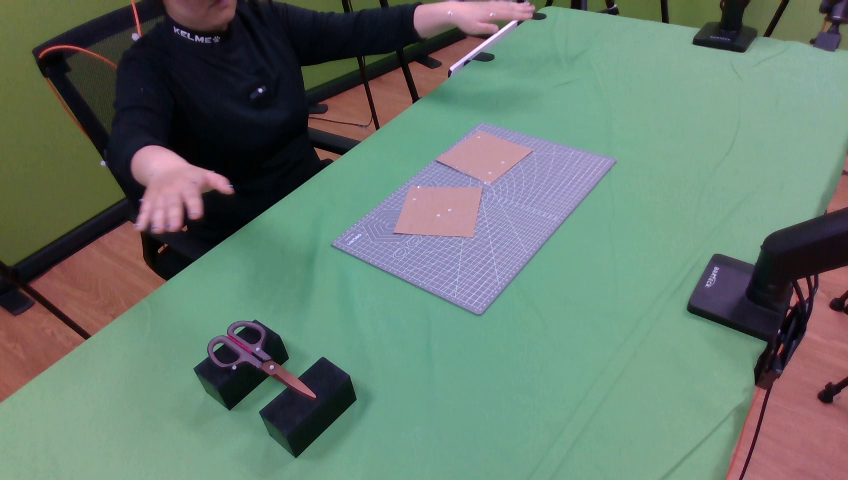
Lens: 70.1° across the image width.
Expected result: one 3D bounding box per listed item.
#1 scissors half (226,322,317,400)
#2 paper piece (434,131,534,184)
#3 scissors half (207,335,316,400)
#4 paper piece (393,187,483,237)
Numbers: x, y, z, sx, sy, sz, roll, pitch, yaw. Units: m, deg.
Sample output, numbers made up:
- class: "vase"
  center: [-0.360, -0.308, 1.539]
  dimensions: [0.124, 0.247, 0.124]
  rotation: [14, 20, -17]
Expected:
- class: "scissors half"
  center: [-0.189, 0.149, 0.754]
  dimensions: [0.040, 0.013, 0.173]
  rotation: [-35, 49, -31]
- class: "paper piece"
  center: [0.114, -0.161, 1.150]
  dimensions: [0.135, 0.009, 0.139]
  rotation: [31, 52, 32]
- class: "scissors half"
  center: [-0.201, 0.159, 0.741]
  dimensions: [0.174, 0.013, 0.040]
  rotation: [18, 40, 23]
- class: "paper piece"
  center: [0.027, -0.051, 1.033]
  dimensions: [0.135, 0.004, 0.135]
  rotation: [3, 41, 12]
